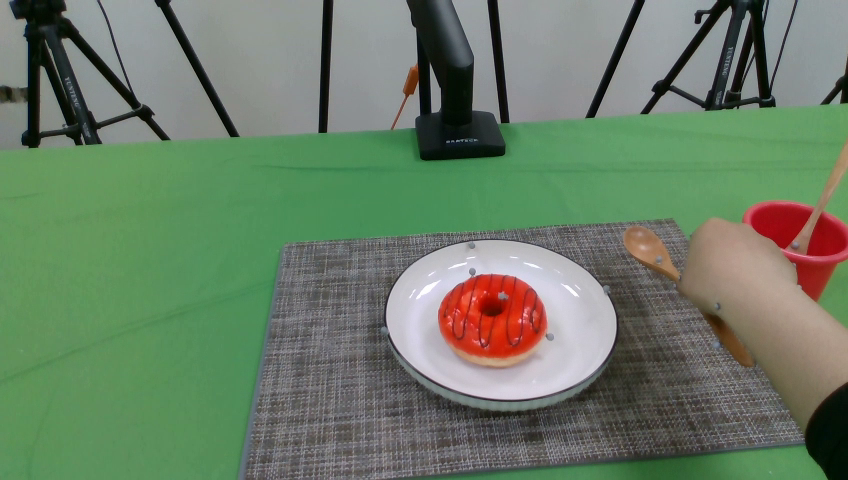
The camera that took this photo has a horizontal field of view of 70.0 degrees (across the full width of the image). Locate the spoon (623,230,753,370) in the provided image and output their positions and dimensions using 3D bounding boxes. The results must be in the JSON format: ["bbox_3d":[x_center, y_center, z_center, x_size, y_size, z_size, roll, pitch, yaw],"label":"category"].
[{"bbox_3d":[0.231,0.045,0.542,0.042,0.022,0.191,-1,30,-11],"label":"spoon"}]

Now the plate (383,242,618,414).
[{"bbox_3d":[0.068,0.077,0.553,0.209,0.038,0.207,0,37,1],"label":"plate"}]

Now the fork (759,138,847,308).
[{"bbox_3d":[0.386,-0.026,0.596,0.028,0.019,0.207,27,88,32],"label":"fork"}]

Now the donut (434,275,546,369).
[{"bbox_3d":[0.059,0.072,0.542,0.099,0.049,0.098,-2,40,2],"label":"donut"}]
